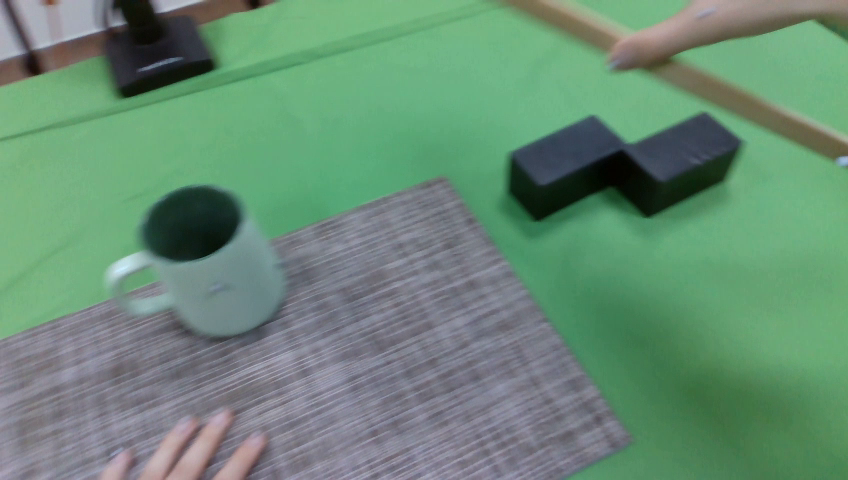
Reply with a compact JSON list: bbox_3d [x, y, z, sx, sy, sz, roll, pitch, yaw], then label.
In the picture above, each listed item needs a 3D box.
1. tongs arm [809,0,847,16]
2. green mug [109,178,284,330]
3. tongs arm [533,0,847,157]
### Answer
[{"bbox_3d":[0.181,-0.184,0.401,0.386,0.026,0.050,14,72,-12],"label":"tongs arm"},{"bbox_3d":[-0.182,0.020,0.484,0.125,0.106,0.091,-23,56,-14],"label":"green mug"},{"bbox_3d":[0.165,-0.118,0.377,0.389,0.028,0.028,24,74,-8],"label":"tongs arm"}]
